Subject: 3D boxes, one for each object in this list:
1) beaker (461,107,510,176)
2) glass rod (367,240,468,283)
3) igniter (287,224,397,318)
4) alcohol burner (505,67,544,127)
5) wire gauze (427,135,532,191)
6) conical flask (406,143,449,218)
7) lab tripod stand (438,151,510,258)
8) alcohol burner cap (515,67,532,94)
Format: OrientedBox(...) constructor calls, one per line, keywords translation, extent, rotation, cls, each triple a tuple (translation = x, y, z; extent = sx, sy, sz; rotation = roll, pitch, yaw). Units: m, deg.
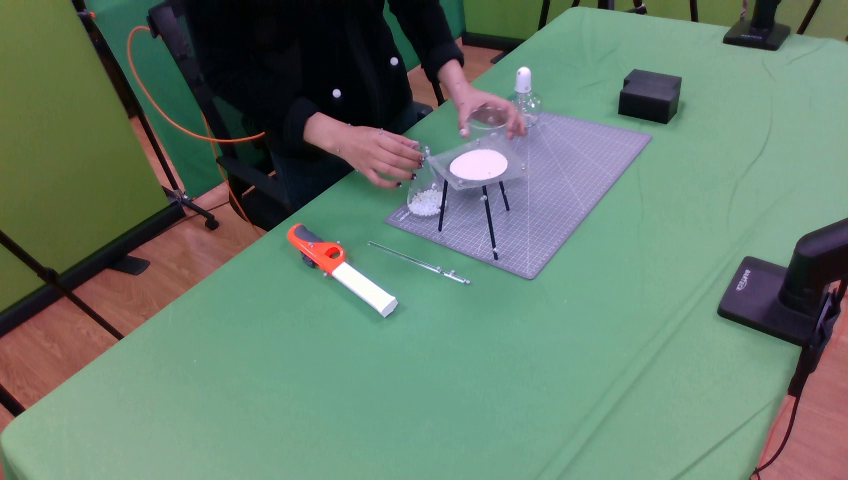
OrientedBox(translation=(0.106, -0.168, 1.047), extent=(0.084, 0.100, 0.073), rotation=(-6, 41, -1), cls="beaker")
OrientedBox(translation=(-0.014, 0.032, 0.960), extent=(0.198, 0.008, 0.008), rotation=(21, 49, 30), cls="glass rod")
OrientedBox(translation=(-0.139, 0.042, 0.958), extent=(0.057, 0.025, 0.274), rotation=(-42, 49, -19), cls="igniter")
OrientedBox(translation=(0.201, -0.288, 1.211), extent=(0.078, 0.119, 0.077), rotation=(-6, 38, 5), cls="alcohol burner")
OrientedBox(translation=(0.081, -0.115, 0.909), extent=(0.125, 0.011, 0.120), rotation=(-18, 39, -11), cls="wire gauze")
OrientedBox(translation=(-0.001, -0.103, 1.024), extent=(0.075, 0.122, 0.075), rotation=(-6, 39, 5), cls="conical flask")
OrientedBox(translation=(0.087, -0.064, 0.952), extent=(0.148, 0.132, 0.147), rotation=(-6, 38, 5), cls="lab tripod stand")
OrientedBox(translation=(0.197, -0.315, 1.187), extent=(0.034, 0.048, 0.033), rotation=(-3, 47, 3), cls="alcohol burner cap")
